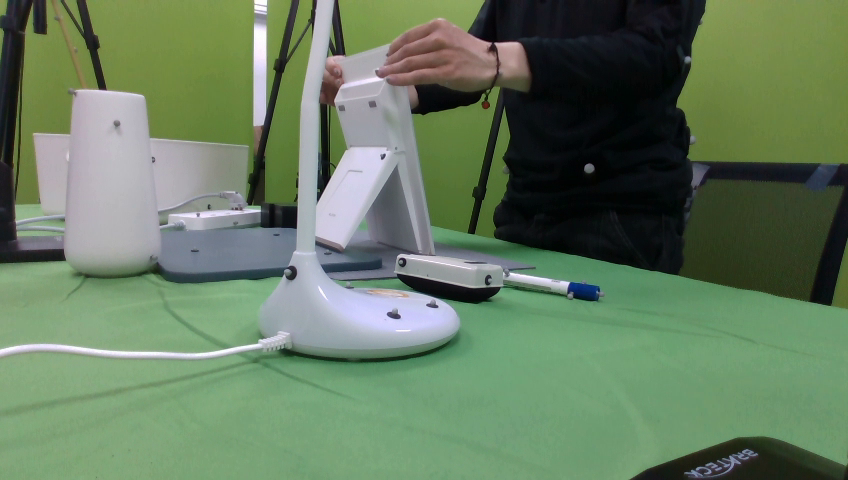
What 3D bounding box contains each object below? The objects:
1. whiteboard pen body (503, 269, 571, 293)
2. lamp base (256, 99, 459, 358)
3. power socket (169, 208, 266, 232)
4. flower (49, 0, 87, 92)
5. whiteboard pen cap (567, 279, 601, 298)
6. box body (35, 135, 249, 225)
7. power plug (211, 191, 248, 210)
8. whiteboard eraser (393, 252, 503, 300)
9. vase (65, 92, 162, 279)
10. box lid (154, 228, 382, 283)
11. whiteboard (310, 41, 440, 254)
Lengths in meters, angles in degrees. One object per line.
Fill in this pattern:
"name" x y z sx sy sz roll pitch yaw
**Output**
"whiteboard pen body" 0.123 0.046 0.680 0.140 0.017 0.017 8 9 30
"lamp base" -0.055 -0.013 0.463 0.160 0.180 0.180 6 11 27
"power socket" -0.379 -0.038 1.130 0.072 0.032 0.227 4 8 18
"flower" -0.361 -0.142 0.659 0.038 0.361 0.044 -13 11 11
"whiteboard pen cap" 0.171 0.052 0.648 0.033 0.018 0.018 10 11 30
"box body" -0.561 -0.127 1.258 0.254 0.160 0.365 4 8 13
"power plug" -0.384 -0.071 1.206 0.072 0.052 0.035 1 7 27
"whiteboard eraser" 0.024 0.037 0.637 0.112 0.042 0.056 8 7 42
"vase" -0.347 -0.060 0.673 0.098 0.200 0.098 1 7 0
"box lid" -0.250 0.013 0.853 0.265 0.015 0.369 -3 9 -32
"whiteboard" -0.118 -0.113 0.891 0.144 0.305 0.216 -19 17 -26
